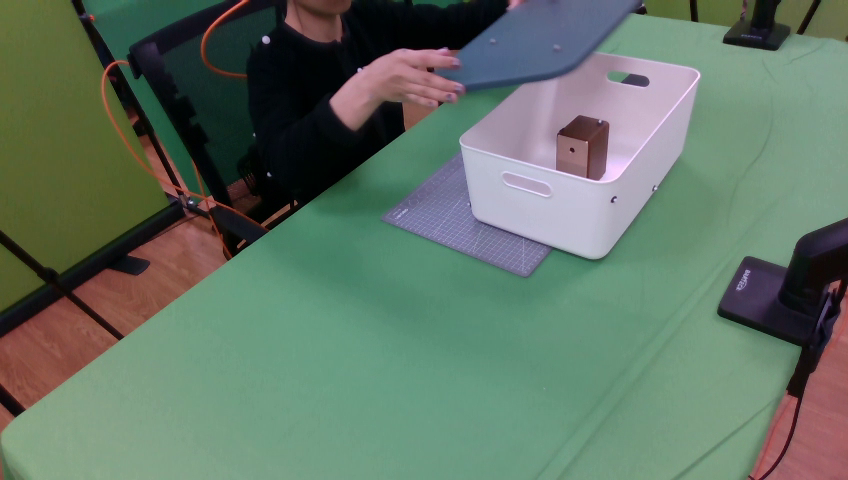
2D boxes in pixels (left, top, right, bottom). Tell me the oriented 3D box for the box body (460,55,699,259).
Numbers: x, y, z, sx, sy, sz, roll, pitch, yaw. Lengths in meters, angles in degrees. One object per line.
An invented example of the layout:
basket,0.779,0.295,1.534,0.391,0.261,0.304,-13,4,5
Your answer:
box body,0.261,-0.153,1.001,0.252,0.161,0.365,21,48,31

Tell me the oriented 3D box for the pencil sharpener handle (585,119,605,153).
pencil sharpener handle,0.301,-0.184,1.044,0.035,0.068,0.031,21,49,35

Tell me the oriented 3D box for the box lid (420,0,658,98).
box lid,0.187,-0.307,0.917,0.261,0.015,0.372,7,40,39

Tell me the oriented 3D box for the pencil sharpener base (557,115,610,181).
pencil sharpener base,0.270,-0.147,1.024,0.061,0.107,0.077,23,49,34
